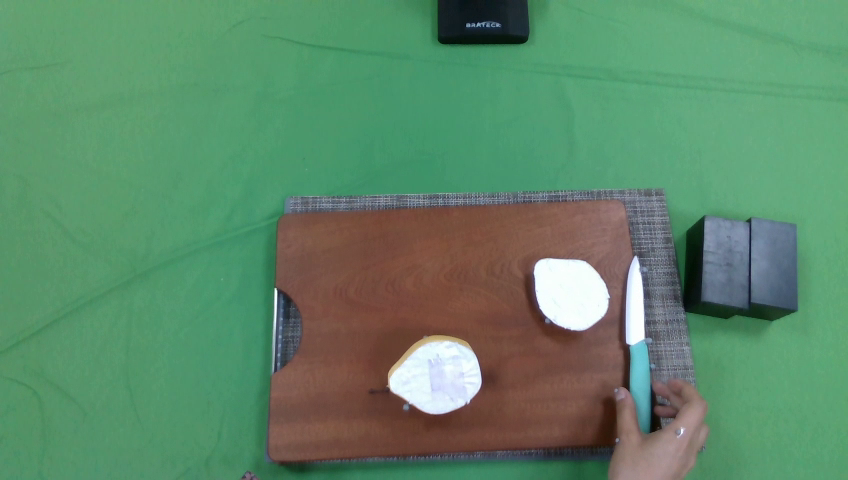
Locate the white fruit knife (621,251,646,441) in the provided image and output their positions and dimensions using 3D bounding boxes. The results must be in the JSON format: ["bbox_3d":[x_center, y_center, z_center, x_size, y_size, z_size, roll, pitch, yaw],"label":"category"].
[{"bbox_3d":[0.221,0.107,0.641,0.027,0.016,0.206,12,69,-12],"label":"white fruit knife"}]

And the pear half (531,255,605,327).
[{"bbox_3d":[0.152,0.053,0.649,0.070,0.031,0.087,-44,63,2],"label":"pear half"}]

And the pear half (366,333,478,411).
[{"bbox_3d":[-0.004,0.133,0.609,0.110,0.056,0.076,-9,90,-6],"label":"pear half"}]
